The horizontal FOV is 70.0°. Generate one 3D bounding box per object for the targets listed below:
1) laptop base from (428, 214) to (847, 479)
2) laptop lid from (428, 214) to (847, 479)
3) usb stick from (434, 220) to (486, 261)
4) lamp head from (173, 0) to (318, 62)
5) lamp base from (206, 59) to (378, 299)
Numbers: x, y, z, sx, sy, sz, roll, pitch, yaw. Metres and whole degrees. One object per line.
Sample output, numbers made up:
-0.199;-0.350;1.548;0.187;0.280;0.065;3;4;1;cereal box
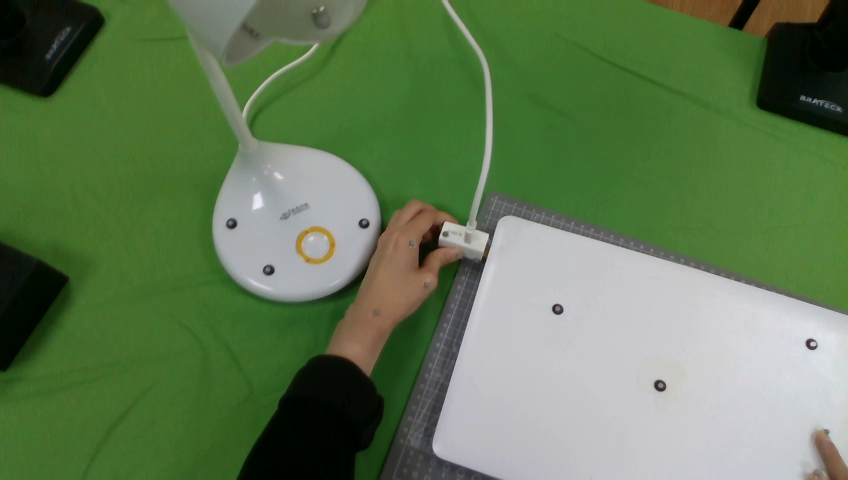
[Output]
0.203;0.129;0.544;0.354;0.023;0.234;17;73;5;laptop base
0.202;0.127;0.532;0.356;0.013;0.240;19;72;5;laptop lid
0.040;0.003;0.573;0.059;0.027;0.021;18;60;2;usb stick
-0.078;-0.148;0.229;0.123;0.112;0.112;44;72;-11;lamp head
-0.132;-0.057;0.517;0.160;0.181;0.178;-39;72;-15;lamp base
